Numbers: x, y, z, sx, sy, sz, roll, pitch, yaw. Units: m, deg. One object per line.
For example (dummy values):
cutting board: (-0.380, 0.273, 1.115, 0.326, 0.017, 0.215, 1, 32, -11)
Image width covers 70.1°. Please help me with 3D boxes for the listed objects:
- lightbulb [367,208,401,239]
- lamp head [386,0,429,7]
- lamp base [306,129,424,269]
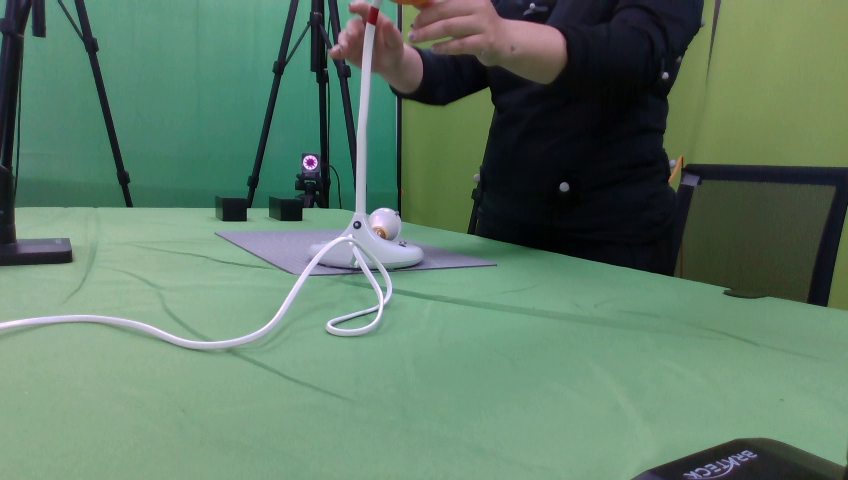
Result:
lightbulb: (-0.073, -0.016, 1.018, 0.059, 0.059, 0.107, 4, 23, 8)
lamp head: (-0.021, -0.325, 0.670, 0.112, 0.123, 0.112, 4, 3, 0)
lamp base: (-0.077, -0.057, 0.811, 0.161, 0.180, 0.179, 2, 10, -4)
